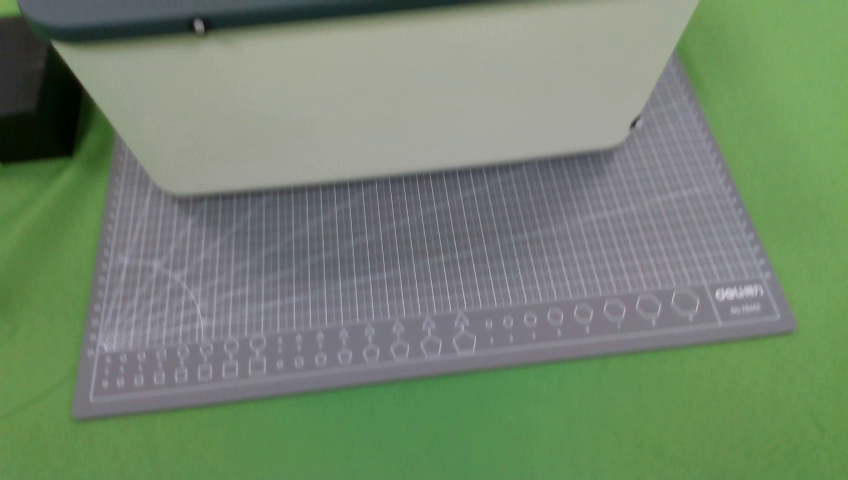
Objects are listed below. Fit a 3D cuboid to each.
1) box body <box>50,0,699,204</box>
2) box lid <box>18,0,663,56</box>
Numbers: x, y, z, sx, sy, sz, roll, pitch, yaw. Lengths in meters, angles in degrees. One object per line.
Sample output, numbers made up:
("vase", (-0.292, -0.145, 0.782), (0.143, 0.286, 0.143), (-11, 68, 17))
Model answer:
("box body", (-0.032, -0.179, 0.432), (0.364, 0.161, 0.251), (-7, 59, -5))
("box lid", (-0.035, -0.218, 0.368), (0.372, 0.015, 0.260), (-7, 59, -5))
